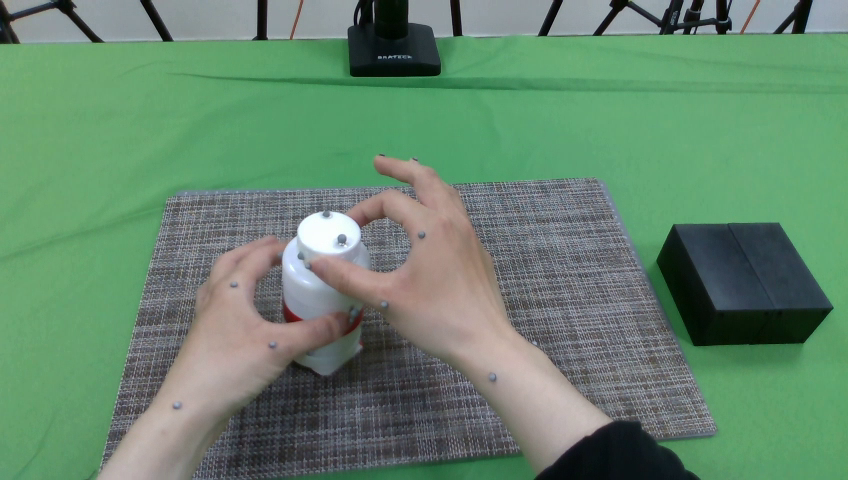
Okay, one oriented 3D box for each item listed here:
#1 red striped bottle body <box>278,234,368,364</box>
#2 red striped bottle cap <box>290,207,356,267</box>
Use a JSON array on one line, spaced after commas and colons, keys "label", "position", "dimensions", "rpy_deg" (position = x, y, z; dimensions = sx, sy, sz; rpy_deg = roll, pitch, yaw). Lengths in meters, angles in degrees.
[{"label": "red striped bottle body", "position": [-0.077, 0.035, 0.455], "dimensions": [0.063, 0.120, 0.062], "rpy_deg": [8, 43, -7]}, {"label": "red striped bottle cap", "position": [-0.069, -0.003, 0.418], "dimensions": [0.045, 0.018, 0.044], "rpy_deg": [11, 41, -9]}]
